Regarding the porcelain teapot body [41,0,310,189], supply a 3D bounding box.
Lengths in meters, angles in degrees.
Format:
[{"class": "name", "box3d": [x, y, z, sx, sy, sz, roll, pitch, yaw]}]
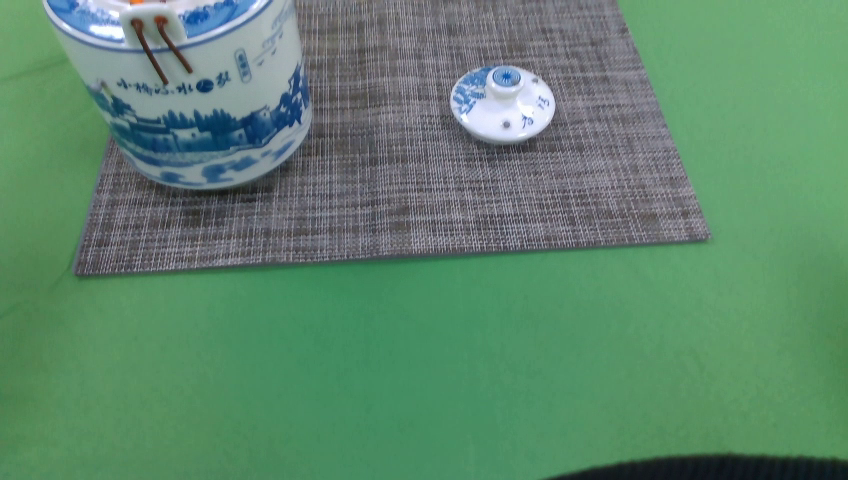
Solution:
[{"class": "porcelain teapot body", "box3d": [-0.164, -0.170, 0.405, 0.145, 0.227, 0.203, -9, 57, -7]}]

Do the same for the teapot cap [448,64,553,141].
[{"class": "teapot cap", "box3d": [0.062, -0.116, 0.486, 0.085, 0.044, 0.084, 0, 56, 1]}]
